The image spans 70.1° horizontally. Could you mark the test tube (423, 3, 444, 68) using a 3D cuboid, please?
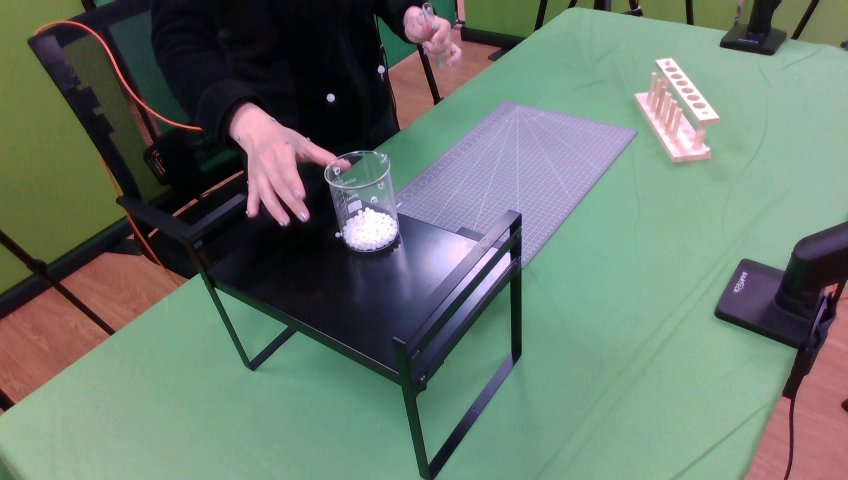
[{"bbox_3d":[0.016,-0.326,0.977,0.017,0.151,0.017,-3,71,8],"label":"test tube"}]

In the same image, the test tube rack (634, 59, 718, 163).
[{"bbox_3d":[0.470,-0.250,1.148,0.067,0.085,0.241,-6,40,3],"label":"test tube rack"}]

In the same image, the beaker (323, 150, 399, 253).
[{"bbox_3d":[-0.067,-0.043,0.699,0.073,0.101,0.084,28,51,34],"label":"beaker"}]
